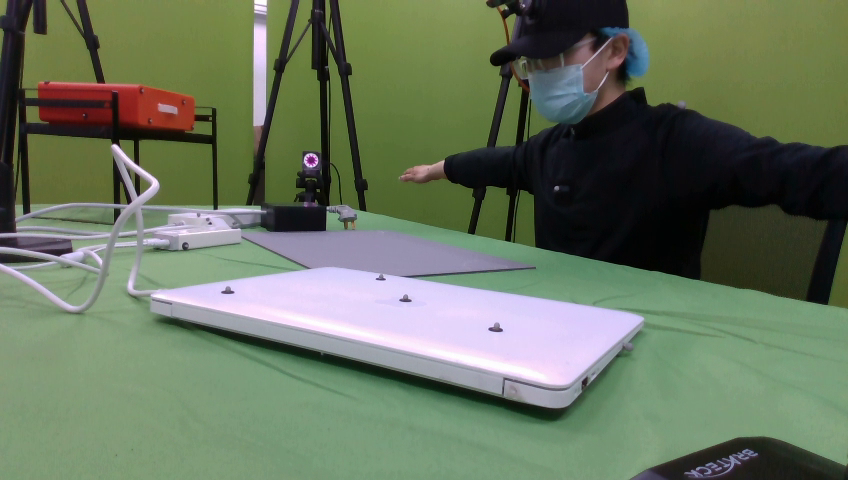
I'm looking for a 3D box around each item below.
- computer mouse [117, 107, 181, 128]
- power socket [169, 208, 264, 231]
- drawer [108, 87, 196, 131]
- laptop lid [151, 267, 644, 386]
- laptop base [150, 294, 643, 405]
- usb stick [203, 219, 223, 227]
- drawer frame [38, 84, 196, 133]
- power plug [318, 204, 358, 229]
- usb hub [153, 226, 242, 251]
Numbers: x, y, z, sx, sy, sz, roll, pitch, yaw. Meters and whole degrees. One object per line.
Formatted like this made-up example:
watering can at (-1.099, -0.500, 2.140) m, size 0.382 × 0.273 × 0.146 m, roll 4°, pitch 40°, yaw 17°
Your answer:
computer mouse at (-0.565, -0.251, 1.242) m, size 0.062 × 0.041 × 0.118 m, roll 17°, pitch 26°, yaw 42°
power socket at (-0.381, -0.038, 1.128) m, size 0.072 × 0.032 × 0.227 m, roll 4°, pitch 8°, yaw 16°
drawer at (-0.609, -0.264, 1.229) m, size 0.211 × 0.073 × 0.194 m, roll 3°, pitch 8°, yaw 9°
laptop lid at (-0.018, 0.054, 0.507) m, size 0.355 × 0.013 × 0.243 m, roll 7°, pitch 6°, yaw 31°
laptop base at (-0.019, 0.066, 0.506) m, size 0.353 × 0.023 × 0.236 m, roll 6°, pitch 5°, yaw 30°
usb stick at (-0.346, -0.018, 1.010) m, size 0.021 × 0.027 × 0.059 m, roll -43°, pitch -1°, yaw -8°
drawer frame at (-0.612, -0.265, 1.229) m, size 0.213 × 0.082 × 0.202 m, roll 3°, pitch 8°, yaw 7°
power plug at (-0.169, -0.044, 1.208) m, size 0.072 × 0.052 × 0.035 m, roll -11°, pitch -13°, yaw -2°
usb hub at (-0.337, -0.003, 0.907) m, size 0.049 × 0.025 × 0.125 m, roll 6°, pitch 9°, yaw 28°
